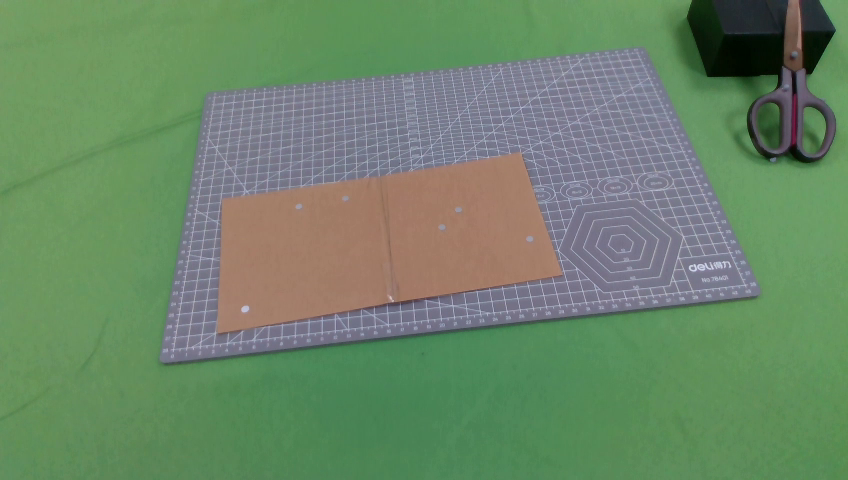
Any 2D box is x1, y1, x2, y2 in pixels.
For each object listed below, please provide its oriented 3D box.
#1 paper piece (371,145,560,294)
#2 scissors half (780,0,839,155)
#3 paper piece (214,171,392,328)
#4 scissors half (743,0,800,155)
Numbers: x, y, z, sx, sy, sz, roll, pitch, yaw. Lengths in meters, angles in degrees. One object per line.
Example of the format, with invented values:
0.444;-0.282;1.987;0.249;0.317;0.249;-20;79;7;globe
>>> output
0.029;-0.021;0.503;0.136;0.004;0.134;-9;54;-3;paper piece
0.337;-0.158;0.539;0.040;0.013;0.174;-4;76;11;scissors half
-0.102;0.001;0.496;0.138;0.009;0.134;-9;51;-2;paper piece
0.317;-0.159;0.543;0.040;0.013;0.174;15;79;10;scissors half
